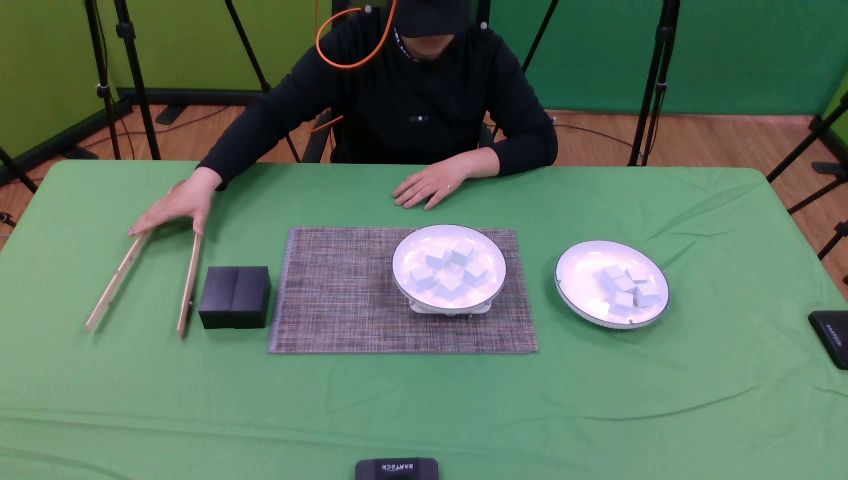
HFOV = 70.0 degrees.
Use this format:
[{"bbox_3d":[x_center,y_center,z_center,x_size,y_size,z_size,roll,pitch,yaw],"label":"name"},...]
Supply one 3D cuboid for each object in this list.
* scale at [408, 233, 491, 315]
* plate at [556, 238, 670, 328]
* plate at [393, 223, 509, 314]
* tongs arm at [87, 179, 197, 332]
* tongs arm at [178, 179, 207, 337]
[{"bbox_3d":[0.045,0.055,1.135,0.149,0.032,0.199,1,46,-3],"label":"scale"},{"bbox_3d":[0.347,0.083,1.130,0.209,0.038,0.208,2,47,-2],"label":"plate"},{"bbox_3d":[0.048,0.053,1.091,0.208,0.039,0.206,1,46,-1],"label":"plate"},{"bbox_3d":[-0.517,0.014,1.137,0.051,0.026,0.382,6,45,0],"label":"tongs arm"},{"bbox_3d":[-0.438,0.019,1.144,0.028,0.028,0.385,-6,47,-6],"label":"tongs arm"}]
